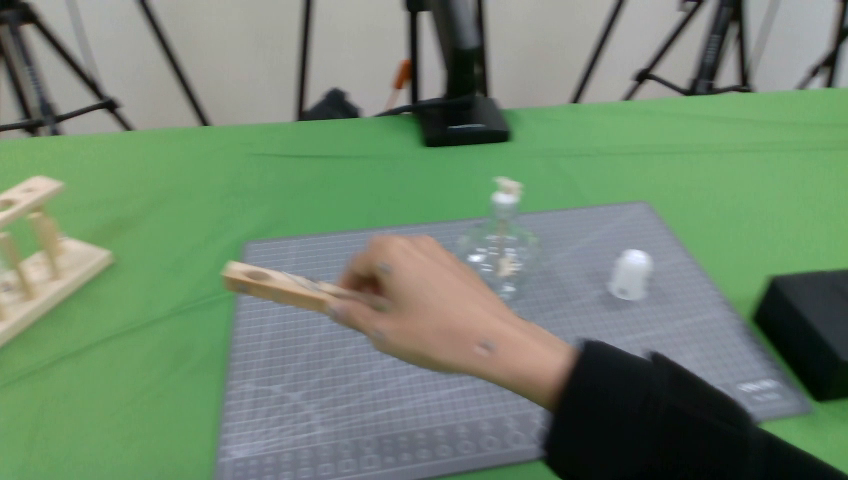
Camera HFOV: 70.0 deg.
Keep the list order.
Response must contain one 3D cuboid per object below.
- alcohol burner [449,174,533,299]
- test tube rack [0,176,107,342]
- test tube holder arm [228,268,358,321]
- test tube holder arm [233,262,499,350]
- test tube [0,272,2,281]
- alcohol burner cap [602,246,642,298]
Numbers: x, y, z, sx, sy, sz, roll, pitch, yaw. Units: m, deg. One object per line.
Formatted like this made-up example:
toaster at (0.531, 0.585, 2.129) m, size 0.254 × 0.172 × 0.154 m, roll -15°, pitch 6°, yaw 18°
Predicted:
alcohol burner at (0.061, -0.006, 0.548) m, size 0.078 × 0.120 × 0.077 m, roll 0°, pitch 36°, yaw 0°
test tube rack at (-0.393, 0.048, 0.501) m, size 0.066 × 0.086 × 0.241 m, roll 15°, pitch 40°, yaw 18°
test tube holder arm at (-0.084, 0.036, 0.393) m, size 0.088 × 0.015 × 0.010 m, roll 13°, pitch 42°, yaw 5°
test tube holder arm at (-0.039, 0.042, 0.393) m, size 0.178 × 0.015 × 0.013 m, roll 13°, pitch 42°, yaw 5°
test tube at (-0.394, -0.022, 0.509) m, size 0.017 × 0.151 × 0.017 m, roll -1°, pitch 36°, yaw 1°
alcohol burner cap at (0.186, 0.028, 0.565) m, size 0.034 × 0.048 × 0.033 m, roll 0°, pitch 38°, yaw 0°
